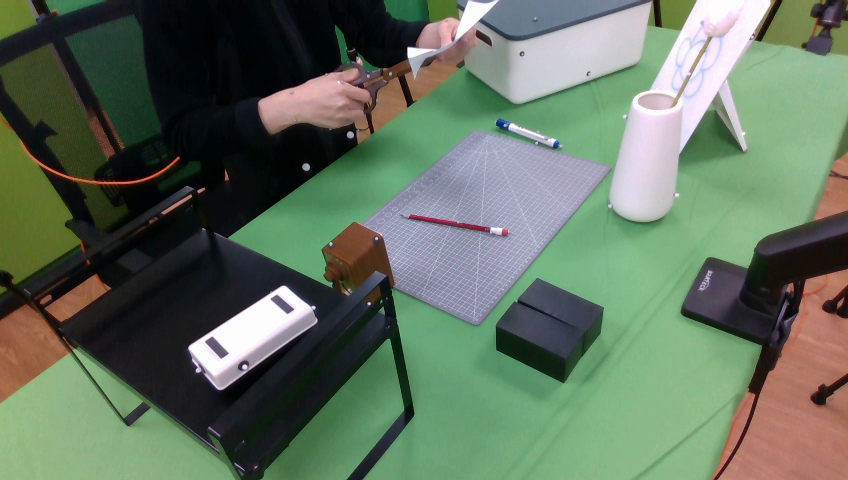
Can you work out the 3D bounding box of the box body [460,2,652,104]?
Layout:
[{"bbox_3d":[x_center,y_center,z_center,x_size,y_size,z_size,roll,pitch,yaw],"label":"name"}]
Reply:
[{"bbox_3d":[0.291,-0.465,1.371,0.365,0.161,0.252,-22,42,-16],"label":"box body"}]

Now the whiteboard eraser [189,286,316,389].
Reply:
[{"bbox_3d":[-0.166,0.096,0.593,0.113,0.042,0.055,-36,47,-29],"label":"whiteboard eraser"}]

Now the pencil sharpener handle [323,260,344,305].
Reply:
[{"bbox_3d":[-0.131,0.061,0.839,0.035,0.068,0.031,29,55,28],"label":"pencil sharpener handle"}]

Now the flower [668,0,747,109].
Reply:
[{"bbox_3d":[0.354,-0.187,0.879,0.038,0.362,0.044,30,48,14],"label":"flower"}]

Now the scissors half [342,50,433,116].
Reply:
[{"bbox_3d":[-0.055,-0.237,0.910,0.174,0.040,0.013,-29,12,30],"label":"scissors half"}]

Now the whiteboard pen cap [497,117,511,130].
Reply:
[{"bbox_3d":[0.165,-0.235,1.227,0.033,0.018,0.018,31,53,30],"label":"whiteboard pen cap"}]

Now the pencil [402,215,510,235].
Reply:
[{"bbox_3d":[0.049,-0.027,1.007,0.193,0.012,0.012,10,43,21],"label":"pencil"}]

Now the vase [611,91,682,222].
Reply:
[{"bbox_3d":[0.348,-0.125,0.935,0.098,0.201,0.097,-3,40,3],"label":"vase"}]

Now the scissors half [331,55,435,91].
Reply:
[{"bbox_3d":[-0.065,-0.255,0.904,0.174,0.040,0.013,-5,28,22],"label":"scissors half"}]

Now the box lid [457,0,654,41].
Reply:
[{"bbox_3d":[0.285,-0.522,1.323,0.373,0.015,0.261,-22,43,-16],"label":"box lid"}]

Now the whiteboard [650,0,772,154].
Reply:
[{"bbox_3d":[0.543,-0.298,1.076,0.144,0.305,0.216,12,40,-7],"label":"whiteboard"}]

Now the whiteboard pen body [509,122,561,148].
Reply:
[{"bbox_3d":[0.209,-0.212,1.195,0.139,0.017,0.017,30,52,33],"label":"whiteboard pen body"}]

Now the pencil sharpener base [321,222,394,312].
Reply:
[{"bbox_3d":[-0.096,0.041,0.873,0.061,0.107,0.077,25,54,32],"label":"pencil sharpener base"}]
